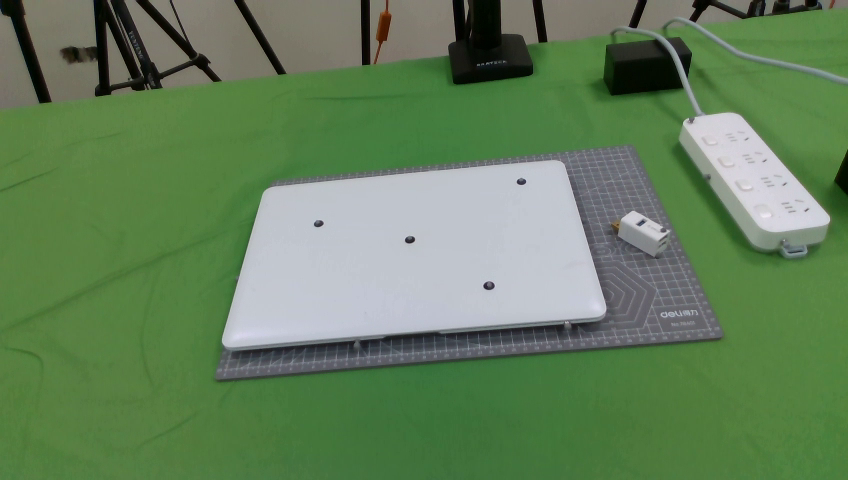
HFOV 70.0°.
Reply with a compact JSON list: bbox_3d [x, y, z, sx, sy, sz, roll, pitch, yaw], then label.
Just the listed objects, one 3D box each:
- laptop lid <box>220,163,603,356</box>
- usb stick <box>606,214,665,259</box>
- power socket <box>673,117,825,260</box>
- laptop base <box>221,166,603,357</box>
[{"bbox_3d":[-0.017,0.008,0.622,0.356,0.013,0.239,-5,44,4],"label":"laptop lid"},{"bbox_3d":[0.210,-0.007,0.611,0.021,0.027,0.058,-32,44,-25],"label":"usb stick"},{"bbox_3d":[0.342,-0.067,0.655,0.072,0.033,0.224,-7,42,0],"label":"power socket"},{"bbox_3d":[-0.015,0.015,0.632,0.354,0.023,0.233,-6,45,3],"label":"laptop base"}]
